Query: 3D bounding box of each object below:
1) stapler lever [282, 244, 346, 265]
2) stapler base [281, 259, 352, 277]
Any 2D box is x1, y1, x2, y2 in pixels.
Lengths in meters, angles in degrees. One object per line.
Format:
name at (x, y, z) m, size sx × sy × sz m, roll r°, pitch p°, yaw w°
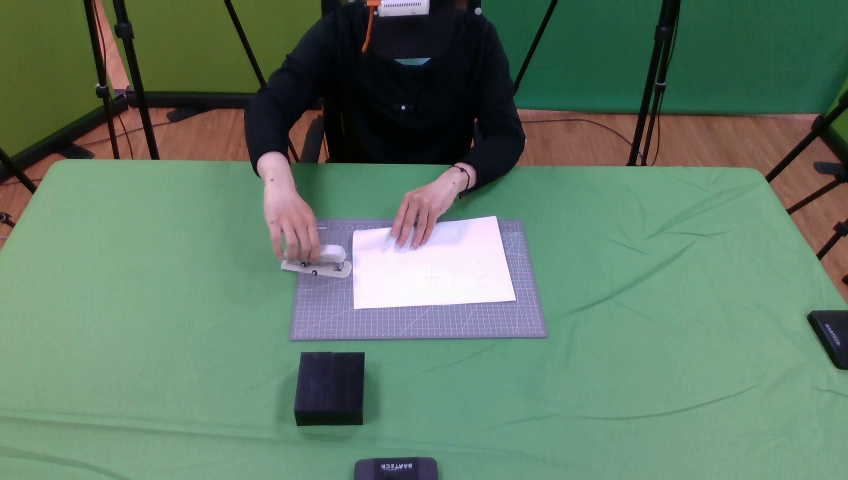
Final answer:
stapler lever at (-0.203, 0.023, 1.117) m, size 0.118 × 0.040 × 0.026 m, roll 7°, pitch 44°, yaw 6°
stapler base at (-0.202, 0.041, 1.135) m, size 0.130 × 0.024 × 0.041 m, roll 7°, pitch 44°, yaw 6°
